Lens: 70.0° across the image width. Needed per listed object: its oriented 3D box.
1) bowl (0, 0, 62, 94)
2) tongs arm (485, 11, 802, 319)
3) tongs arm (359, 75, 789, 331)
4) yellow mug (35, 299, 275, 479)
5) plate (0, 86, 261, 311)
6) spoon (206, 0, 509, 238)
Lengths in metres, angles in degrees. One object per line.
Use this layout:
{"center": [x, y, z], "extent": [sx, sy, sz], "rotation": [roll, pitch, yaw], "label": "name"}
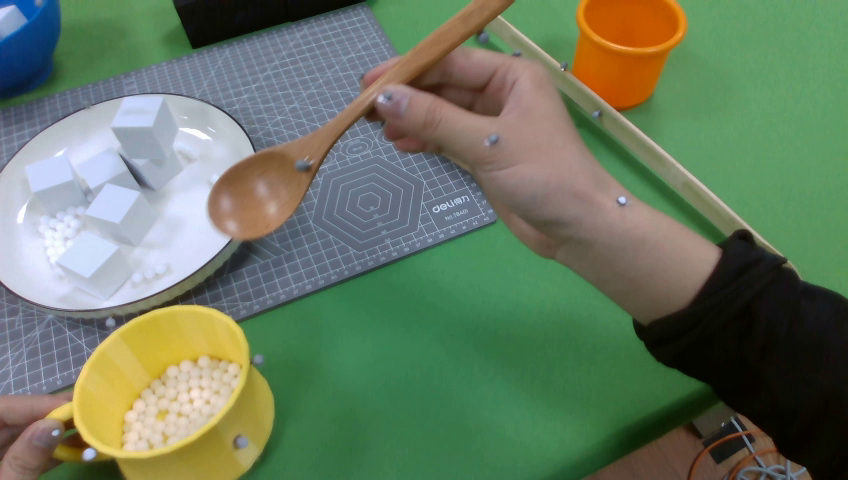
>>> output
{"center": [-0.398, -0.189, 0.555], "extent": [0.151, 0.077, 0.150], "rotation": [-1, 58, 1], "label": "bowl"}
{"center": [0.155, -0.088, 0.511], "extent": [0.051, 0.027, 0.381], "rotation": [-34, 66, -18], "label": "tongs arm"}
{"center": [0.095, -0.039, 0.485], "extent": [0.385, 0.028, 0.028], "rotation": [34, 62, 19], "label": "tongs arm"}
{"center": [-0.163, 0.099, 0.368], "extent": [0.131, 0.064, 0.099], "rotation": [-18, 48, -12], "label": "yellow mug"}
{"center": [-0.227, -0.035, 0.478], "extent": [0.208, 0.039, 0.205], "rotation": [0, 58, 1], "label": "plate"}
{"center": [-0.032, -0.065, 0.300], "extent": [0.194, 0.021, 0.041], "rotation": [-36, 85, 14], "label": "spoon"}
